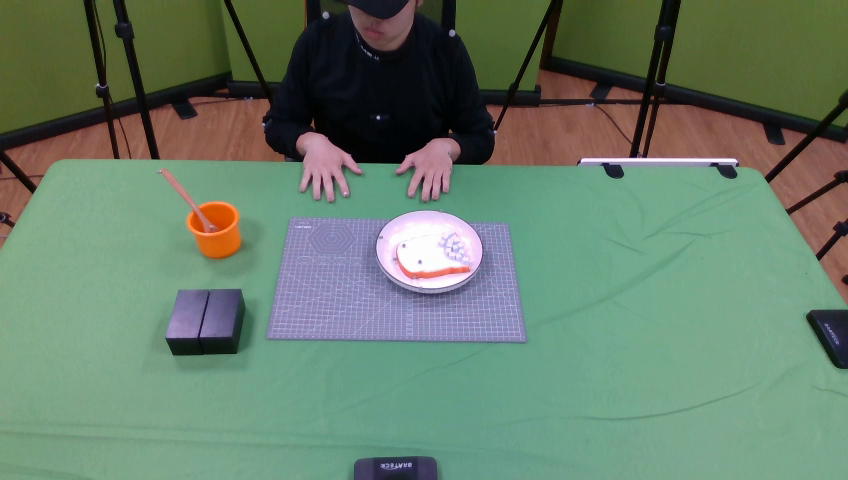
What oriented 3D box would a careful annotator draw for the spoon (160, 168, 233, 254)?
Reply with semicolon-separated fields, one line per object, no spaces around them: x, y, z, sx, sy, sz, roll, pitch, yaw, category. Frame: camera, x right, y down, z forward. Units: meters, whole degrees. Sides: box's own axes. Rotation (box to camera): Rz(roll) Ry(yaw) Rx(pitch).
-0.424;-0.055;1.130;0.041;0.194;0.021;-42;18;-31;spoon

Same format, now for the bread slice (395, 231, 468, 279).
0.011;0.030;1.158;0.132;0.019;0.104;-8;47;-14;bread slice

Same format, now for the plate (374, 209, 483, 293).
0.009;0.024;1.160;0.209;0.038;0.208;2;46;-2;plate
